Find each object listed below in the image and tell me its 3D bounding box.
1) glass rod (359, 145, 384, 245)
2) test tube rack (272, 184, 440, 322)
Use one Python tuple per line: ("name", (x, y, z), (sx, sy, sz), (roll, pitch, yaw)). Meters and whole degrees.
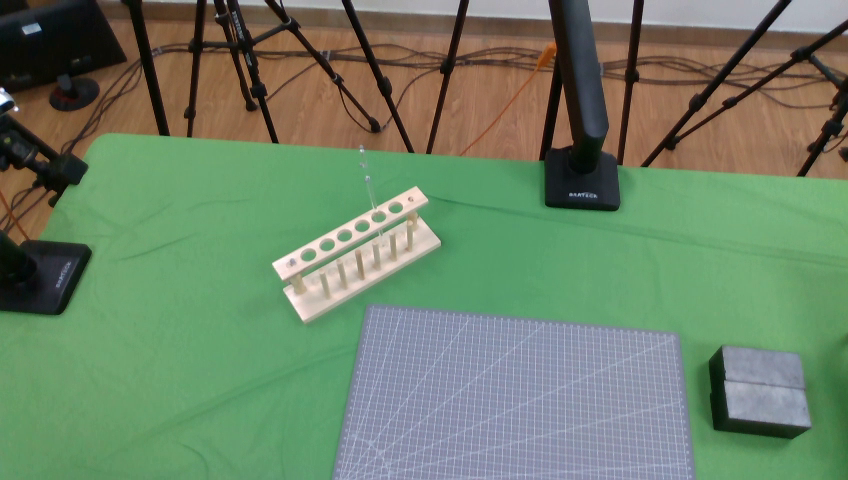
("glass rod", (-0.074, -0.058, 0.867), (0.008, 0.201, 0.008), (-3, 49, 4))
("test tube rack", (-0.094, 0.018, 0.897), (0.242, 0.086, 0.066), (-30, 60, -17))
